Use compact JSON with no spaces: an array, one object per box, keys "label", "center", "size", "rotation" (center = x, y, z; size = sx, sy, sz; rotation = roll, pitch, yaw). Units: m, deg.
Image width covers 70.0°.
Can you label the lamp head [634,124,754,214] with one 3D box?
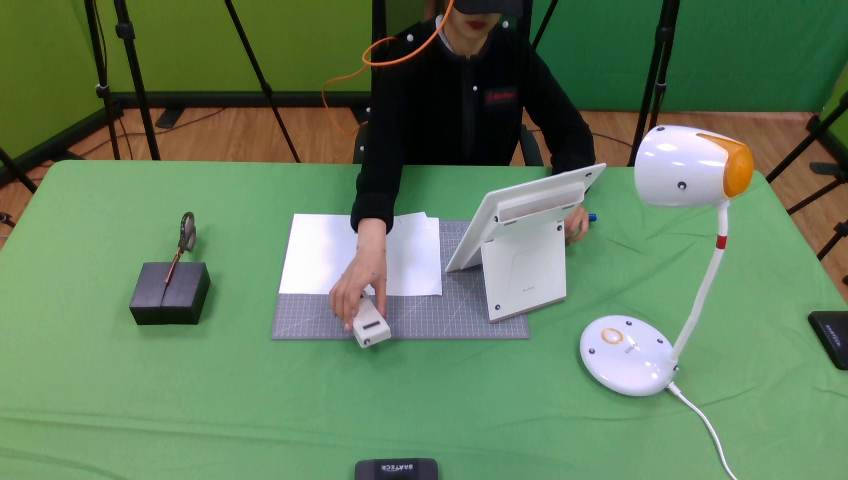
[{"label":"lamp head","center":[0.351,-0.089,0.776],"size":[0.112,0.113,0.122],"rotation":[-30,30,-28]}]

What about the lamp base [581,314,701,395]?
[{"label":"lamp base","center":[0.361,0.145,0.973],"size":[0.178,0.181,0.160],"rotation":[34,53,23]}]

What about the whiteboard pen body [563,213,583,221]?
[{"label":"whiteboard pen body","center":[0.282,-0.048,1.259],"size":[0.141,0.017,0.017],"rotation":[-2,46,-3]}]

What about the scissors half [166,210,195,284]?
[{"label":"scissors half","center":[-0.440,0.010,1.094],"size":[0.013,0.040,0.174],"rotation":[8,49,-9]}]

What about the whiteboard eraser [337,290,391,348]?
[{"label":"whiteboard eraser","center":[-0.104,0.136,1.035],"size":[0.056,0.042,0.112],"rotation":[-15,41,-24]}]

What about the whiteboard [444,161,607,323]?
[{"label":"whiteboard","center":[0.186,0.025,1.029],"size":[0.217,0.306,0.143],"rotation":[-14,68,-18]}]

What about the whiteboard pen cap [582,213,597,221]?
[{"label":"whiteboard pen cap","center":[0.342,-0.048,1.260],"size":[0.033,0.018,0.018],"rotation":[-2,46,-3]}]

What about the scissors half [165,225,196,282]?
[{"label":"scissors half","center":[-0.444,0.026,1.107],"size":[0.013,0.040,0.174],"rotation":[4,30,-5]}]
